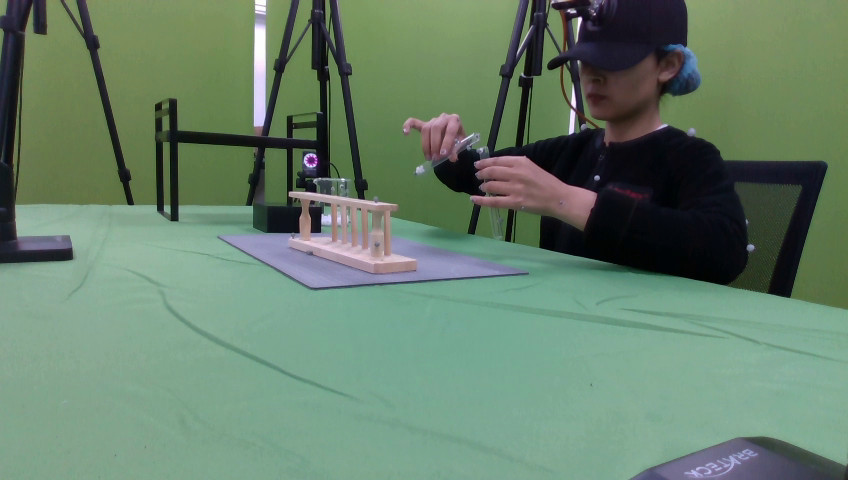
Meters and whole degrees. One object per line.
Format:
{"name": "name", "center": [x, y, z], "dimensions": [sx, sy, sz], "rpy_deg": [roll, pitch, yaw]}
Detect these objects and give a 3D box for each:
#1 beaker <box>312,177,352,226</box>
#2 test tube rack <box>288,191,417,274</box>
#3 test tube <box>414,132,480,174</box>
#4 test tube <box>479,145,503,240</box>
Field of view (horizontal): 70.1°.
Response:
{"name": "beaker", "center": [-0.194, -0.081, 1.266], "dimensions": [0.084, 0.100, 0.073], "rpy_deg": [-3, 9, -29]}
{"name": "test tube rack", "center": [-0.106, -0.017, 0.835], "dimensions": [0.067, 0.085, 0.241], "rpy_deg": [-3, 9, -37]}
{"name": "test tube", "center": [0.035, -0.143, 1.008], "dimensions": [0.017, 0.017, 0.149], "rpy_deg": [-5, -13, -45]}
{"name": "test tube", "center": [0.105, -0.074, 0.947], "dimensions": [0.017, 0.150, 0.017], "rpy_deg": [-9, 0, 0]}
